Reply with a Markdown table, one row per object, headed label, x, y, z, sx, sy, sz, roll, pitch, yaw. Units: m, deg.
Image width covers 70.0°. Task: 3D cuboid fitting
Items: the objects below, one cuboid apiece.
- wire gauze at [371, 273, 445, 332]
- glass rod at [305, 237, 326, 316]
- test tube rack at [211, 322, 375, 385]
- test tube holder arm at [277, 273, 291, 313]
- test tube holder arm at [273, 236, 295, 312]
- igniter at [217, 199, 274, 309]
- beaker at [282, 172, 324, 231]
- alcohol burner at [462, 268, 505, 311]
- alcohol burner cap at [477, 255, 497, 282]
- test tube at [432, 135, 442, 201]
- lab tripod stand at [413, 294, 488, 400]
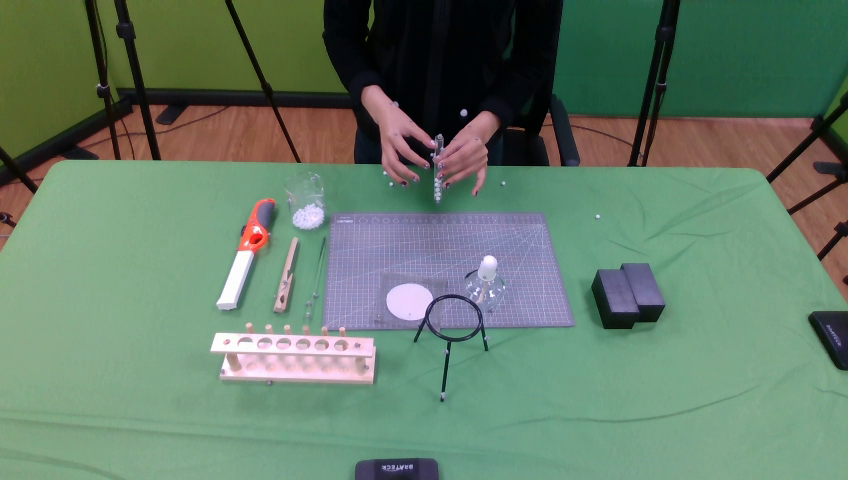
| label | x | y | z | sx | sy | sz | roll | pitch | yaw |
| --- | --- | --- | --- | --- | --- | --- | --- | --- | --- |
| wire gauze | -0.028 | 0.109 | 1.099 | 0.125 | 0.011 | 0.121 | 7 | 45 | 4 |
| glass rod | -0.202 | 0.064 | 1.131 | 0.008 | 0.008 | 0.198 | 4 | 44 | 0 |
| test tube rack | -0.203 | 0.176 | 0.969 | 0.242 | 0.085 | 0.066 | 3 | 46 | -2 |
| test tube holder arm | -0.253 | 0.094 | 1.094 | 0.010 | 0.015 | 0.087 | 28 | 39 | -26 |
| test tube holder arm | -0.259 | 0.059 | 1.123 | 0.013 | 0.015 | 0.177 | 27 | 39 | -27 |
| igniter | -0.336 | 0.017 | 1.152 | 0.057 | 0.025 | 0.275 | -2 | 45 | 8 |
| beaker | -0.234 | -0.073 | 1.198 | 0.084 | 0.101 | 0.074 | 24 | 49 | 17 |
| alcohol burner | 0.108 | 0.071 | 1.072 | 0.078 | 0.119 | 0.077 | 4 | 45 | -3 |
| alcohol burner cap | 0.110 | 0.047 | 1.045 | 0.034 | 0.048 | 0.033 | 2 | 52 | -2 |
| test tube | 0.024 | -0.129 | 1.115 | 0.017 | 0.151 | 0.017 | 0 | 47 | 0 |
| lab tripod stand | 0.044 | 0.160 | 0.972 | 0.148 | 0.132 | 0.147 | 3 | 44 | -2 |
